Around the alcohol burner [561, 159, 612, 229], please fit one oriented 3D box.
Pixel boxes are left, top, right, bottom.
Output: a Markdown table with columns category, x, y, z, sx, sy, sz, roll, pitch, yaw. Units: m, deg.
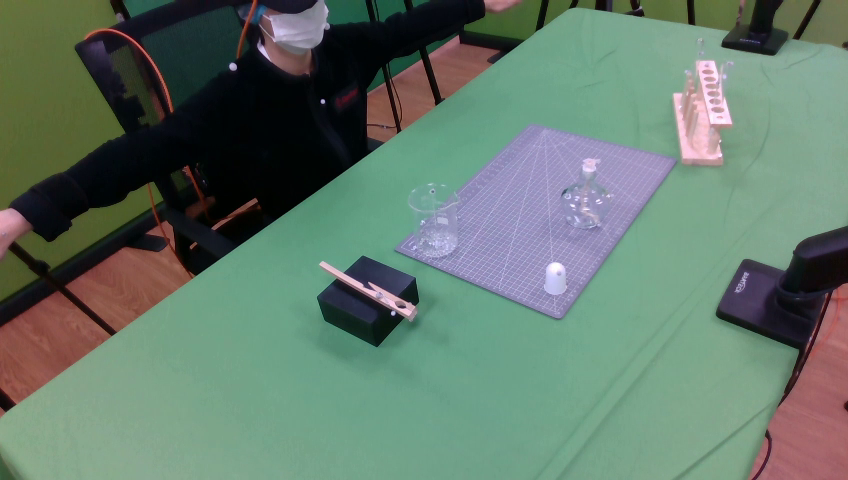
| category | x | y | z | sx | sy | sz | roll | pitch | yaw |
| --- | --- | --- | --- | --- | --- | --- | --- | --- | --- |
| alcohol burner | 0.257 | -0.077 | 0.951 | 0.078 | 0.119 | 0.077 | -3 | 40 | 3 |

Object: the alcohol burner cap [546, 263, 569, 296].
| category | x | y | z | sx | sy | sz | roll | pitch | yaw |
| --- | --- | --- | --- | --- | --- | --- | --- | --- | --- |
| alcohol burner cap | 0.191 | 0.053 | 0.862 | 0.034 | 0.048 | 0.033 | -5 | 40 | 4 |

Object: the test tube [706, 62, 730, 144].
| category | x | y | z | sx | sy | sz | roll | pitch | yaw |
| --- | --- | --- | --- | --- | --- | --- | --- | --- | --- |
| test tube | 0.507 | -0.233 | 1.046 | 0.017 | 0.151 | 0.017 | -5 | 36 | 4 |

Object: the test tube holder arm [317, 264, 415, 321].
| category | x | y | z | sx | sy | sz | roll | pitch | yaw |
| --- | --- | --- | --- | --- | --- | --- | --- | --- | --- |
| test tube holder arm | -0.083 | 0.070 | 0.833 | 0.177 | 0.015 | 0.013 | 22 | 55 | 30 |

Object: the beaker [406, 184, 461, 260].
| category | x | y | z | sx | sy | sz | roll | pitch | yaw |
| --- | --- | --- | --- | --- | --- | --- | --- | --- | --- |
| beaker | 0.019 | -0.026 | 0.939 | 0.084 | 0.101 | 0.074 | 1 | 41 | 10 |

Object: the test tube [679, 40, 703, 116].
| category | x | y | z | sx | sy | sz | roll | pitch | yaw |
| --- | --- | --- | --- | --- | --- | --- | --- | --- | --- |
| test tube | 0.502 | -0.303 | 1.138 | 0.017 | 0.151 | 0.017 | -3 | 40 | 3 |

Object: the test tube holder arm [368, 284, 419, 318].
| category | x | y | z | sx | sy | sz | roll | pitch | yaw |
| --- | --- | --- | --- | --- | --- | --- | --- | --- | --- |
| test tube holder arm | -0.044 | 0.081 | 0.813 | 0.087 | 0.015 | 0.010 | 23 | 55 | 31 |

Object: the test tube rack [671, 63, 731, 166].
| category | x | y | z | sx | sy | sz | roll | pitch | yaw |
| --- | --- | --- | --- | --- | --- | --- | --- | --- | --- |
| test tube rack | 0.513 | -0.240 | 1.132 | 0.066 | 0.085 | 0.242 | 4 | 41 | 14 |
